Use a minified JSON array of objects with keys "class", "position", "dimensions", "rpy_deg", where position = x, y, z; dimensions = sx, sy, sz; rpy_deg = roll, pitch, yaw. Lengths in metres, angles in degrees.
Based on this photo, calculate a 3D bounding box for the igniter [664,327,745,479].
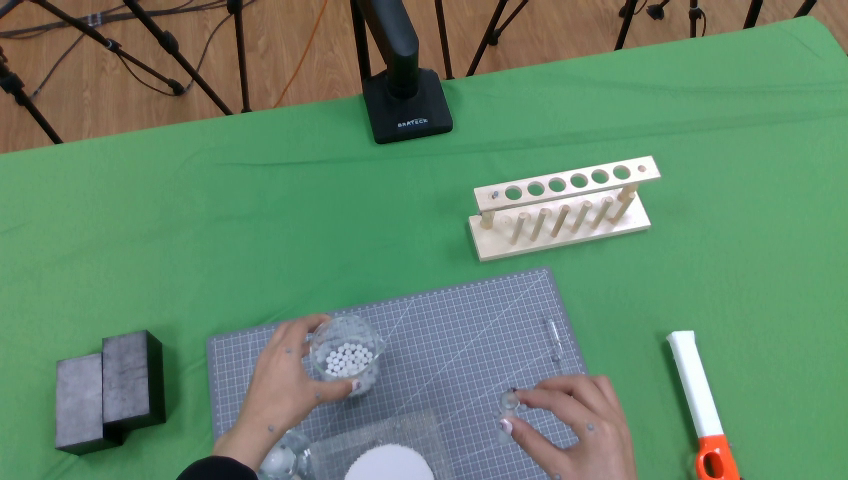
[{"class":"igniter","position":[0.332,0.235,0.704],"dimensions":[0.057,0.025,0.274],"rpy_deg":[0,63,-13]}]

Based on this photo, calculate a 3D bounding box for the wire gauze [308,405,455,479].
[{"class":"wire gauze","position":[-0.035,0.226,0.558],"dimensions":[0.125,0.011,0.120],"rpy_deg":[-14,63,-9]}]

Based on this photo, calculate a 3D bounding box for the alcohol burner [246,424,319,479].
[{"class":"alcohol burner","position":[-0.152,0.231,0.639],"dimensions":[0.078,0.120,0.077],"rpy_deg":[0,61,-1]}]

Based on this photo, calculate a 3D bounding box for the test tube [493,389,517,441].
[{"class":"test tube","position":[0.072,0.161,0.548],"dimensions":[0.017,0.151,0.017],"rpy_deg":[-2,61,4]}]

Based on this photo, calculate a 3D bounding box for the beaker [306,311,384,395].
[{"class":"beaker","position":[-0.087,0.134,0.698],"dimensions":[0.084,0.101,0.073],"rpy_deg":[-3,64,-4]}]

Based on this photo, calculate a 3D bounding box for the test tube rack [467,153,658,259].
[{"class":"test tube rack","position":[0.185,-0.044,0.806],"dimensions":[0.243,0.086,0.066],"rpy_deg":[-11,64,-7]}]

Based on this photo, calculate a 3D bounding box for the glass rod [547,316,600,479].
[{"class":"glass rod","position":[0.179,0.185,0.731],"dimensions":[0.008,0.008,0.198],"rpy_deg":[-10,67,-7]}]

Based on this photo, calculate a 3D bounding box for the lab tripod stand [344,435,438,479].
[{"class":"lab tripod stand","position":[-0.034,0.259,0.617],"dimensions":[0.148,0.132,0.147],"rpy_deg":[0,62,0]}]

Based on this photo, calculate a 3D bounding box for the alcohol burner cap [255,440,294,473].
[{"class":"alcohol burner cap","position":[-0.151,0.216,0.606],"dimensions":[0.034,0.048,0.033],"rpy_deg":[-1,69,2]}]
